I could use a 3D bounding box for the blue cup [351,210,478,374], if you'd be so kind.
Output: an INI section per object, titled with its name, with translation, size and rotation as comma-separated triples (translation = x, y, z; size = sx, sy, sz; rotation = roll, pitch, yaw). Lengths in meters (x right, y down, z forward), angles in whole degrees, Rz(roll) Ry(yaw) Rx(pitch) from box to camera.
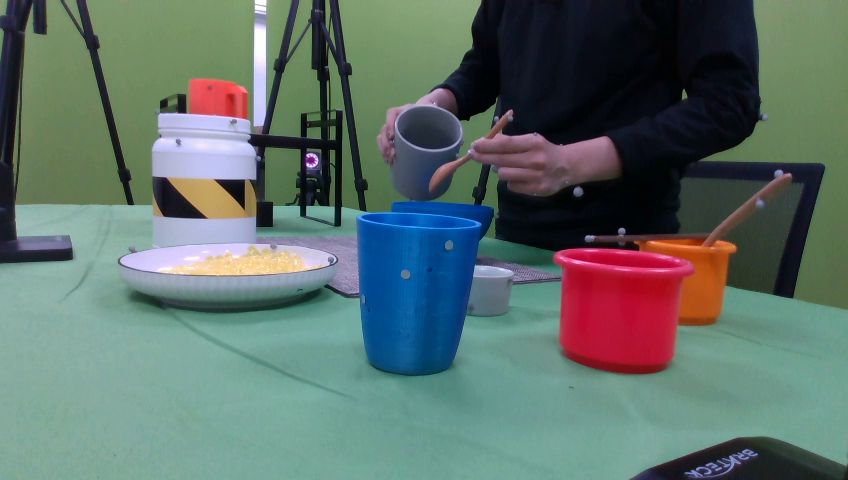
[blue cup]
translation = -0.009, 0.034, 0.414
size = 0.093, 0.100, 0.092
rotation = 4, 8, 0

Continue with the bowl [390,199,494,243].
[bowl]
translation = 0.024, -0.015, 0.871
size = 0.151, 0.077, 0.151
rotation = 3, 7, 0

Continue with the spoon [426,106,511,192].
[spoon]
translation = 0.056, -0.120, 0.813
size = 0.193, 0.022, 0.041
rotation = -35, 22, 45

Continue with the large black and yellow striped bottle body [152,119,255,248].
[large black and yellow striped bottle body]
translation = -0.296, -0.070, 0.819
size = 0.131, 0.184, 0.130
rotation = 2, 7, 0

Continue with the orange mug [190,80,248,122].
[orange mug]
translation = -0.394, -0.257, 1.172
size = 0.126, 0.100, 0.084
rotation = 1, 6, 25

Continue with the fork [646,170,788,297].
[fork]
translation = 0.256, 0.004, 0.543
size = 0.028, 0.018, 0.207
rotation = 3, -36, -9

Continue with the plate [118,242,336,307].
[plate]
translation = -0.194, 0.033, 0.615
size = 0.209, 0.038, 0.209
rotation = 2, 7, 0

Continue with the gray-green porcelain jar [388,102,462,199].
[gray-green porcelain jar]
translation = -0.002, -0.137, 0.960
size = 0.106, 0.126, 0.105
rotation = 5, 51, -6

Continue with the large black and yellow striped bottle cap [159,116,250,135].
[large black and yellow striped bottle cap]
translation = -0.292, -0.153, 0.810
size = 0.115, 0.019, 0.115
rotation = 3, 8, 0

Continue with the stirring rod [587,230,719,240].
[stirring rod]
translation = 0.226, -0.005, 0.587
size = 0.177, 0.006, 0.014
rotation = -2, 10, -29

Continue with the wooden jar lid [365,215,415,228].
[wooden jar lid]
translation = -0.072, -0.040, 1.291
size = 0.108, 0.020, 0.108
rotation = 3, 8, 0

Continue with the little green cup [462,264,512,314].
[little green cup]
translation = 0.053, 0.047, 0.580
size = 0.061, 0.038, 0.061
rotation = 3, 8, 0
